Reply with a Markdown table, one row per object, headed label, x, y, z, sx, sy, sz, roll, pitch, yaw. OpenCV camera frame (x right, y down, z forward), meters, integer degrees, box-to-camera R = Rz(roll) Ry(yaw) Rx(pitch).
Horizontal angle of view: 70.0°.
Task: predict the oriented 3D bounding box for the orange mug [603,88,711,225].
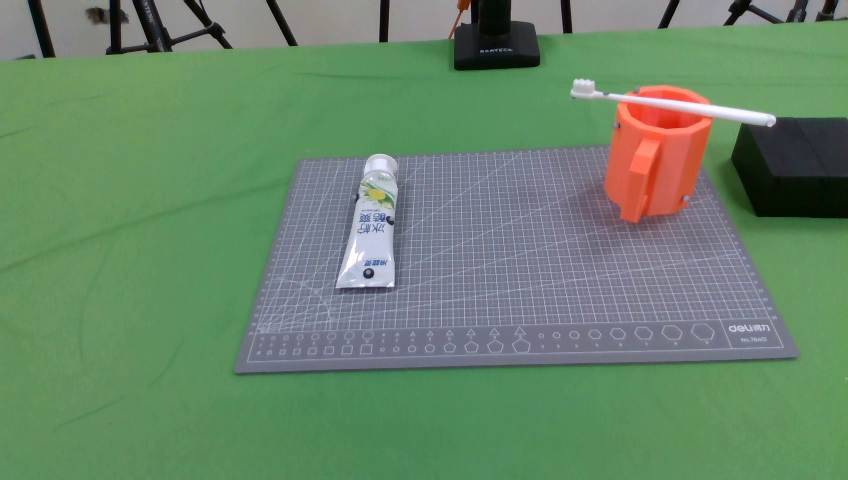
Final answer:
| label | x | y | z | sx | sy | sz | roll | pitch | yaw |
| --- | --- | --- | --- | --- | --- | --- | --- | --- | --- |
| orange mug | 0.217 | -0.076 | 0.584 | 0.083 | 0.102 | 0.126 | 18 | 44 | 24 |

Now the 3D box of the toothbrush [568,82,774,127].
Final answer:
| label | x | y | z | sx | sy | sz | roll | pitch | yaw |
| --- | --- | --- | --- | --- | --- | --- | --- | --- | --- |
| toothbrush | 0.224 | -0.125 | 0.560 | 0.181 | 0.017 | 0.014 | 15 | 41 | 20 |

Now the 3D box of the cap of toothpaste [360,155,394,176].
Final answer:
| label | x | y | z | sx | sy | sz | roll | pitch | yaw |
| --- | --- | --- | --- | --- | --- | --- | --- | --- | --- |
| cap of toothpaste | -0.051 | -0.076 | 0.651 | 0.037 | 0.038 | 0.011 | 1 | 50 | 6 |

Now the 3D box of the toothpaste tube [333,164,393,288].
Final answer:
| label | x | y | z | sx | sy | sz | roll | pitch | yaw |
| --- | --- | --- | --- | --- | --- | --- | --- | --- | --- |
| toothpaste tube | -0.055 | -0.018 | 0.601 | 0.055 | 0.035 | 0.163 | -5 | 47 | 7 |
